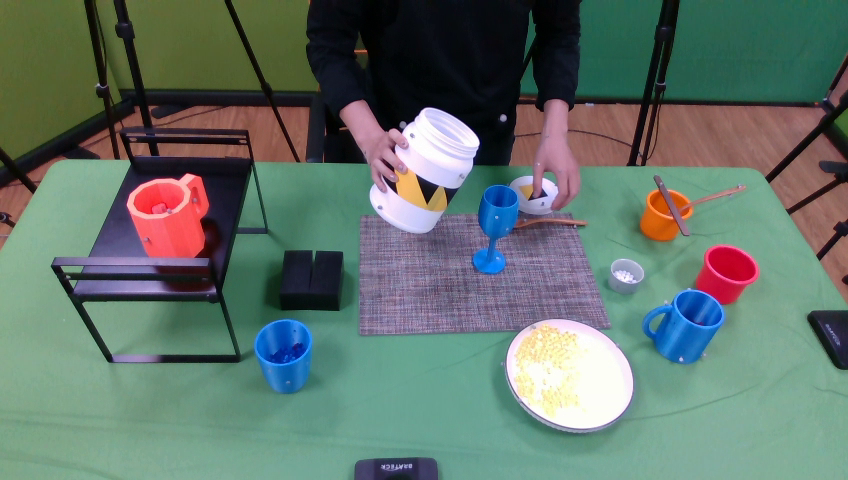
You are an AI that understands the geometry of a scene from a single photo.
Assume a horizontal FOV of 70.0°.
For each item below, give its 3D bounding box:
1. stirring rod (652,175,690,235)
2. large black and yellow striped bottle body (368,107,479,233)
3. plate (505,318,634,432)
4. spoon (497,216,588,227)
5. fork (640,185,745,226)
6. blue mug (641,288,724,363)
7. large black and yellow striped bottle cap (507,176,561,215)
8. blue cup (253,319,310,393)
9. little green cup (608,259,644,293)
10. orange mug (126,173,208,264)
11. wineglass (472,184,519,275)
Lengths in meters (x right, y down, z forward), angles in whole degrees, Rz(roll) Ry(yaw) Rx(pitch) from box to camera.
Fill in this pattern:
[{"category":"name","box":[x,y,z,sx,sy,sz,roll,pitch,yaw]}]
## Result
[{"category":"stirring rod","box":[0.492,-0.072,1.211,0.014,0.006,0.175,-1,46,-7]},{"category":"large black and yellow striped bottle body","box":[0.000,-0.118,1.023,0.131,0.184,0.130,25,29,-15]},{"category":"plate","box":[0.235,0.221,0.991,0.209,0.038,0.208,2,45,-2]},{"category":"spoon","box":[0.246,-0.039,1.247,0.194,0.022,0.041,-2,24,-6]},{"category":"fork","box":[0.534,-0.069,1.215,0.207,0.019,0.028,-26,27,33]},{"category":"blue mug","box":[0.432,0.144,1.033,0.116,0.106,0.082,8,46,4]},{"category":"large black and yellow striped bottle cap","box":[0.238,-0.098,1.312,0.115,0.019,0.114,2,42,-1]},{"category":"blue cup","box":[-0.217,0.187,0.943,0.093,0.101,0.092,4,45,-3]},{"category":"little green cup","box":[0.379,0.070,1.147,0.061,0.039,0.061,3,45,-3]},{"category":"orange mug","box":[-0.371,-0.040,0.902,0.083,0.101,0.126,18,52,13]},{"category":"wineglass","box":[0.129,-0.018,1.113,0.074,0.173,0.073,2,46,-2]}]
